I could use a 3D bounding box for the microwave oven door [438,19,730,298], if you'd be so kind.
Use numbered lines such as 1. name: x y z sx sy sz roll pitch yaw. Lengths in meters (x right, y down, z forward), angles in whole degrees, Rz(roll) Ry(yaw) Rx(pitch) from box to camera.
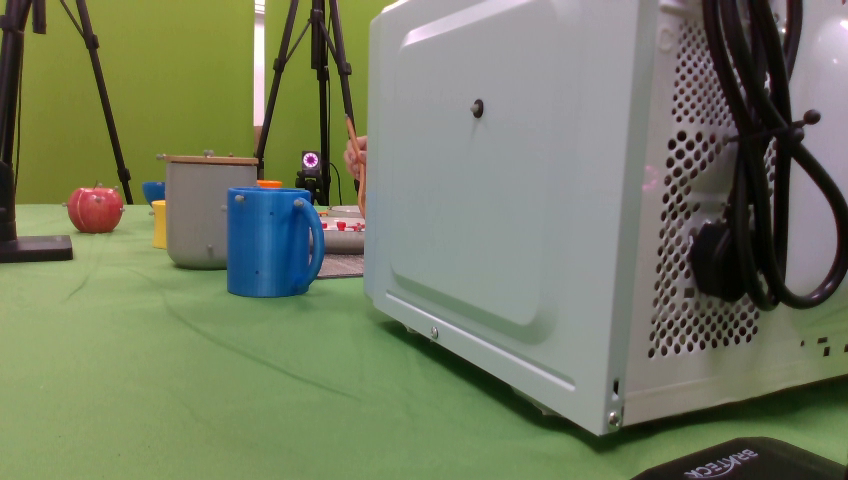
1. microwave oven door: 0.181 -0.076 0.618 0.358 0.243 0.039 -2 8 -28

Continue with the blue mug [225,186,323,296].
1. blue mug: -0.148 0.000 0.618 0.116 0.106 0.083 7 9 33

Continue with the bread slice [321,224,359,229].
1. bread slice: -0.124 -0.009 0.938 0.131 0.019 0.105 6 8 31

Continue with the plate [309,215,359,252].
1. plate: -0.130 -0.011 0.945 0.208 0.039 0.207 2 8 0

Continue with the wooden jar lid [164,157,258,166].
1. wooden jar lid: -0.261 -0.093 0.746 0.108 0.020 0.108 0 9 0

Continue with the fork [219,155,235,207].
1. fork: -0.459 -0.134 1.415 0.028 0.018 0.207 -1 -34 -24

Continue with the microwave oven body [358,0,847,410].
1. microwave oven body: 0.210 -0.051 0.471 0.444 0.260 0.324 -1 7 -28

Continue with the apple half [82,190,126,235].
1. apple half: -0.517 -0.046 0.994 0.032 0.081 0.081 0 6 26

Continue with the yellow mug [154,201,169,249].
1. yellow mug: -0.338 -0.022 0.899 0.130 0.064 0.100 8 9 34

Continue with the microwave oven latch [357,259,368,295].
1. microwave oven latch: -0.019 0.031 0.529 0.079 0.029 0.030 -1 7 -26

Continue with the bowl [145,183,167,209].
1. bowl: -0.459 -0.068 1.175 0.151 0.077 0.151 3 7 0

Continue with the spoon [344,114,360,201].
1. spoon: -0.104 -0.117 0.978 0.021 0.193 0.042 -15 -14 15

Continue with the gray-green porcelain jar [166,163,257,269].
1. gray-green porcelain jar: -0.263 -0.031 0.754 0.106 0.126 0.106 2 7 0

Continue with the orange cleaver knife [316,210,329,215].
1. orange cleaver knife: -0.259 -0.064 1.423 0.212 0.012 0.077 -4 3 -30

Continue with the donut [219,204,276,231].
1. donut: -0.316 -0.039 1.083 0.099 0.048 0.099 2 7 0

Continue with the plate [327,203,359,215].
1. plate: -0.102 -0.053 1.299 0.209 0.038 0.209 2 8 0

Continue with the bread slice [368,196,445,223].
1. bread slice: -0.040 -0.057 1.142 0.107 0.018 0.133 -8 -8 -39

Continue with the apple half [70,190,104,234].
1. apple half: -0.552 -0.047 1.009 0.053 0.074 0.081 -1 9 27
